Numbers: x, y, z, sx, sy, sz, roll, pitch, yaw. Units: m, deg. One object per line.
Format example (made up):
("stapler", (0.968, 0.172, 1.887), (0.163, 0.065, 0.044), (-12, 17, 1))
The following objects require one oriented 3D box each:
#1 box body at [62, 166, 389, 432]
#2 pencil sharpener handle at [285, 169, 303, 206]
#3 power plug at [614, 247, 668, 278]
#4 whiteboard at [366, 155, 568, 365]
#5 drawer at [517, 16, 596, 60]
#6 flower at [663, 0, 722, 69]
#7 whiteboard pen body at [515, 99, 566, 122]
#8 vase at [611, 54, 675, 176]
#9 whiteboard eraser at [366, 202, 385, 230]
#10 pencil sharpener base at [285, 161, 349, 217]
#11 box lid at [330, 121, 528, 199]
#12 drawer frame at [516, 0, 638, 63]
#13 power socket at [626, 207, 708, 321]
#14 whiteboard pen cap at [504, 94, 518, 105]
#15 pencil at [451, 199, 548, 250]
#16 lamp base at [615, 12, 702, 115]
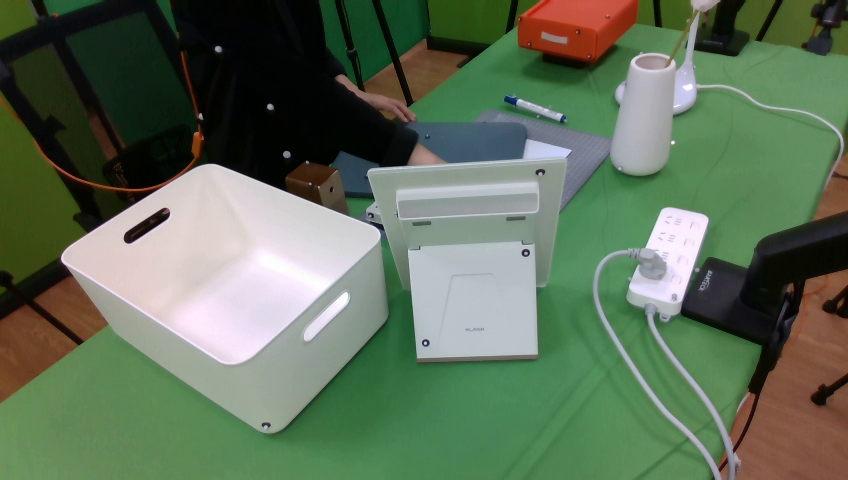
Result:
("box body", (-0.255, 0.065, 0.827), (0.361, 0.161, 0.255), (21, 48, 29))
("pencil sharpener handle", (-0.227, -0.091, 1.031), (0.030, 0.068, 0.036), (16, 35, 26))
("power plug", (0.306, 0.031, 0.851), (0.072, 0.053, 0.035), (24, 49, 33))
("whiteboard", (0.059, 0.050, 0.738), (0.217, 0.307, 0.143), (-2, 60, 5))
("drawer", (0.352, -0.506, 1.405), (0.193, 0.073, 0.212), (23, 49, 32))
("flower", (0.379, -0.261, 0.965), (0.044, 0.362, 0.038), (20, 53, 5))
("whiteboard pen body", (0.234, -0.274, 1.262), (0.139, 0.017, 0.017), (28, 51, 29))
("vase", (0.377, -0.209, 1.031), (0.098, 0.201, 0.097), (-3, 40, 3))
("whiteboard eraser", (-0.037, -0.038, 1.006), (0.112, 0.042, 0.055), (16, 48, 25))
("pencil sharpener base", (-0.180, -0.071, 1.019), (0.076, 0.107, 0.061), (16, 46, 26))
("box lid", (0.009, -0.158, 1.167), (0.370, 0.015, 0.262), (3, 41, 13))
("drawer frame", (0.355, -0.508, 1.411), (0.200, 0.083, 0.214), (23, 51, 32))
("power socket", (0.359, 0.025, 0.886), (0.072, 0.033, 0.227), (16, 46, 26))
("whiteboard pen cap", (0.189, -0.299, 1.292), (0.033, 0.018, 0.018), (31, 53, 28))
("pencil", (0.125, -0.025, 0.993), (0.195, 0.012, 0.012), (-26, 44, -19))
("lamp base", (0.484, -0.364, 1.211), (0.180, 0.181, 0.159), (-15, 41, -14))
